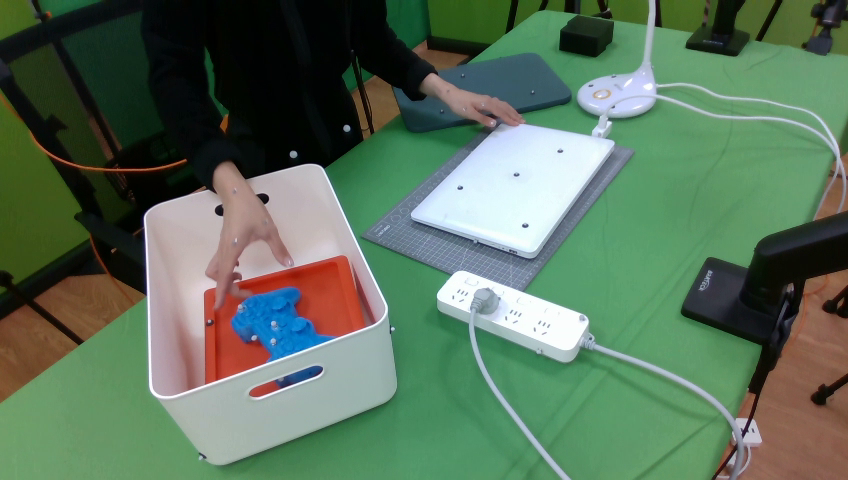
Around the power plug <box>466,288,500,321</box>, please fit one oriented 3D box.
[{"bbox_3d":[0.072,0.093,0.813,0.035,0.053,0.073,30,55,35],"label":"power plug"}]

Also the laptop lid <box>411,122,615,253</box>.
[{"bbox_3d":[0.164,-0.112,1.068,0.240,0.013,0.357,19,46,31],"label":"laptop lid"}]

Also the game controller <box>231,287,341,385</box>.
[{"bbox_3d":[-0.167,0.110,0.735,0.097,0.052,0.154,-34,47,-22],"label":"game controller"}]

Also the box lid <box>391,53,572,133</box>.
[{"bbox_3d":[0.123,-0.339,1.366,0.372,0.015,0.261,-12,40,-5],"label":"box lid"}]

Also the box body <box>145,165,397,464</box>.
[{"bbox_3d":[-0.205,0.080,0.802,0.255,0.161,0.361,-18,41,-13],"label":"box body"}]

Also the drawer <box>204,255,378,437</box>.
[{"bbox_3d":[-0.177,0.129,0.786,0.195,0.073,0.210,-14,38,-9],"label":"drawer"}]

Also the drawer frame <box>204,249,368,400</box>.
[{"bbox_3d":[-0.173,0.129,0.791,0.202,0.083,0.212,-16,45,-8],"label":"drawer frame"}]

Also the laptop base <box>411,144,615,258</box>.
[{"bbox_3d":[0.167,-0.102,1.074,0.234,0.023,0.355,16,45,30],"label":"laptop base"}]

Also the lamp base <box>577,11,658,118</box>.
[{"bbox_3d":[0.406,-0.363,1.222,0.180,0.181,0.159,-20,42,-18],"label":"lamp base"}]

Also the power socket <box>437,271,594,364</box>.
[{"bbox_3d":[0.118,0.102,0.830,0.225,0.033,0.072,20,48,28],"label":"power socket"}]

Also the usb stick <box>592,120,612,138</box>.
[{"bbox_3d":[0.335,-0.203,1.149,0.021,0.027,0.059,25,53,26],"label":"usb stick"}]
